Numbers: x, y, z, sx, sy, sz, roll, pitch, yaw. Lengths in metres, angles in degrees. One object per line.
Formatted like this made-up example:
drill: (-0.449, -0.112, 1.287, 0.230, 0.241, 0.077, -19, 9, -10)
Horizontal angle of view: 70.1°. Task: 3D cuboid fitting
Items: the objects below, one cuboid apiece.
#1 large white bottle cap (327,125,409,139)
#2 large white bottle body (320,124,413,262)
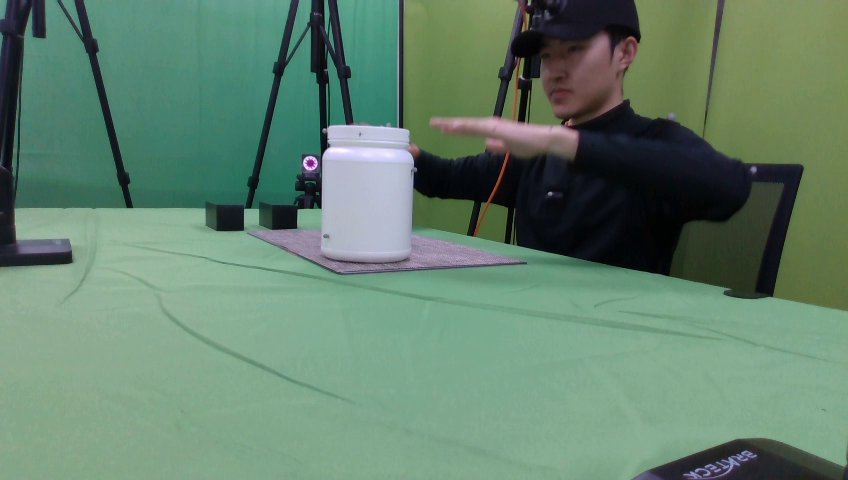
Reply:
large white bottle cap: (-0.078, -0.151, 0.852, 0.115, 0.018, 0.115, 1, 8, 0)
large white bottle body: (-0.081, -0.069, 0.864, 0.131, 0.184, 0.130, 2, 8, 0)
